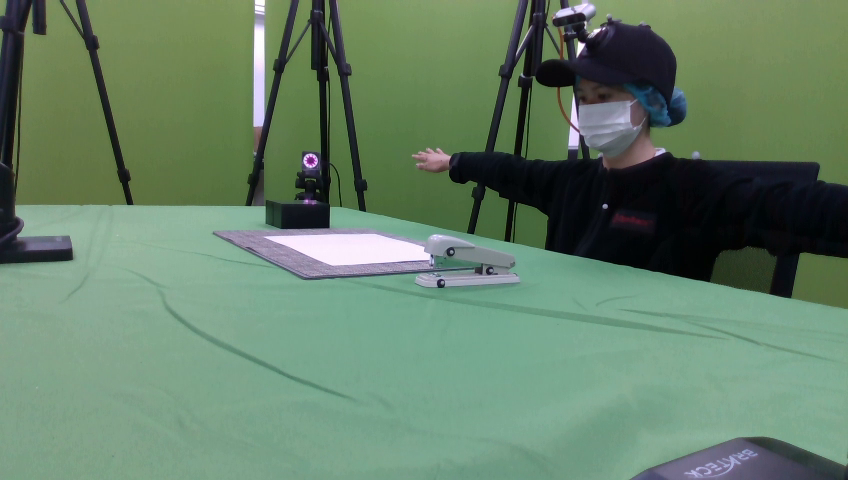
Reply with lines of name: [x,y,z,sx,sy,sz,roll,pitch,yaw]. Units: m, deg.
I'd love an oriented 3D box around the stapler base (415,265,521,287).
stapler base: [0.053,0.039,0.716,0.131,0.024,0.041,1,9,-27]

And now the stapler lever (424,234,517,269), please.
stapler lever: [0.056,0.014,0.714,0.119,0.040,0.026,1,9,-27]
